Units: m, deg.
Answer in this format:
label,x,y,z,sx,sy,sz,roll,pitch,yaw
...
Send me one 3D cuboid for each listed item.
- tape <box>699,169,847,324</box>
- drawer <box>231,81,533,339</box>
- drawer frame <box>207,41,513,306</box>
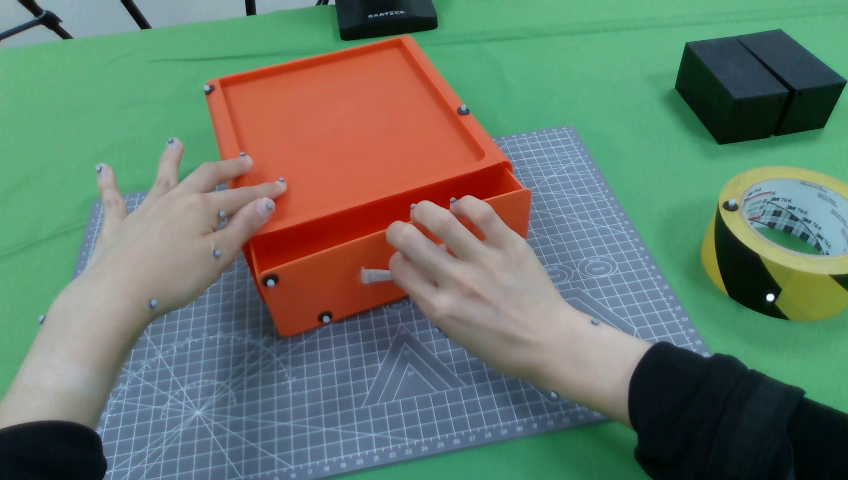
label,x,y,z,sx,sy,sz,roll,pitch,yaw
tape,0.266,0.001,0.444,0.117,0.053,0.115,-1,46,2
drawer,-0.048,-0.045,0.488,0.195,0.074,0.209,-18,47,-12
drawer frame,-0.062,-0.067,0.510,0.202,0.083,0.211,-18,47,-13
